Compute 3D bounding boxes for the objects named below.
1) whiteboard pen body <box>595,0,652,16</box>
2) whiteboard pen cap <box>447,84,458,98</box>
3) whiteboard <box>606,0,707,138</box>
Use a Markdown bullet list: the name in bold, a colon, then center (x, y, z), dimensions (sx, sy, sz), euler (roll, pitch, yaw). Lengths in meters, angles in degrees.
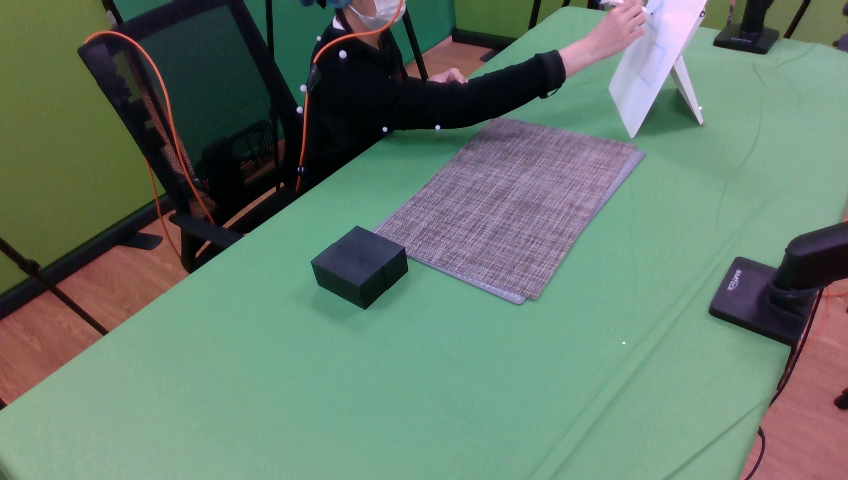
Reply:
- **whiteboard pen body**: center (0.376, -0.436, 1.132), dimensions (0.142, 0.017, 0.017), euler (3, 34, -28)
- **whiteboard pen cap**: center (0.059, -0.311, 1.262), dimensions (0.018, 0.018, 0.033), euler (7, 47, 16)
- **whiteboard**: center (0.496, -0.359, 1.147), dimensions (0.144, 0.305, 0.216), euler (11, 40, -7)
